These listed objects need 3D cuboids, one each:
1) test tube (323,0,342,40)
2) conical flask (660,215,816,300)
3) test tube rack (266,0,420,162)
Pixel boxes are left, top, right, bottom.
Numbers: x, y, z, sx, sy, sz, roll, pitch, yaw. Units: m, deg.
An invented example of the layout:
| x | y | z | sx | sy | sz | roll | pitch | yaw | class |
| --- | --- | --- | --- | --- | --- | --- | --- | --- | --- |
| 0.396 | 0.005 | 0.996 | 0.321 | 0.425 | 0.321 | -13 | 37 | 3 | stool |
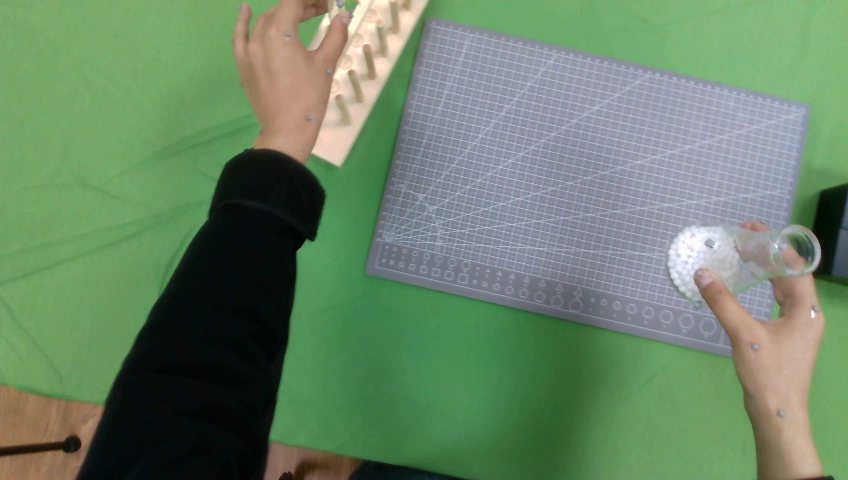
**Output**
| x | y | z | sx | sy | sz | roll | pitch | yaw | class |
| --- | --- | --- | --- | --- | --- | --- | --- | --- | --- |
| -0.083 | -0.213 | 0.546 | 0.017 | 0.150 | 0.017 | 0 | 88 | -6 | test tube |
| 0.251 | 0.010 | 0.483 | 0.075 | 0.122 | 0.075 | 1 | 84 | -8 | conical flask |
| -0.073 | -0.211 | 0.644 | 0.067 | 0.085 | 0.242 | 27 | 86 | 1 | test tube rack |
